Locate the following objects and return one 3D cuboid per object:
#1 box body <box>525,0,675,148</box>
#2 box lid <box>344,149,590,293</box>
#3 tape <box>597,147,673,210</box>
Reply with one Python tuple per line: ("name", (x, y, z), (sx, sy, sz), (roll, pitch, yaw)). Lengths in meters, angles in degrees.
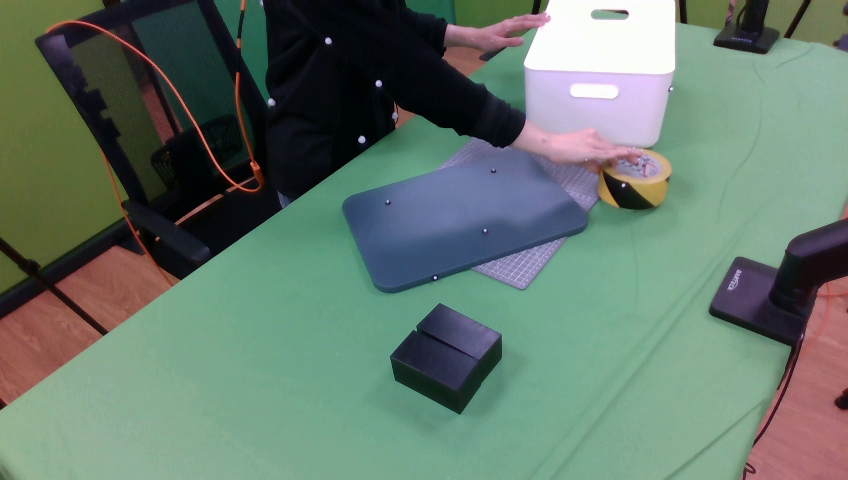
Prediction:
("box body", (0.356, -0.342, 1.212), (0.253, 0.161, 0.363), (7, 42, 17))
("box lid", (0.062, -0.045, 1.027), (0.373, 0.015, 0.261), (-18, 41, -11))
("tape", (0.350, -0.103, 1.004), (0.117, 0.053, 0.116), (-1, 40, 2))
